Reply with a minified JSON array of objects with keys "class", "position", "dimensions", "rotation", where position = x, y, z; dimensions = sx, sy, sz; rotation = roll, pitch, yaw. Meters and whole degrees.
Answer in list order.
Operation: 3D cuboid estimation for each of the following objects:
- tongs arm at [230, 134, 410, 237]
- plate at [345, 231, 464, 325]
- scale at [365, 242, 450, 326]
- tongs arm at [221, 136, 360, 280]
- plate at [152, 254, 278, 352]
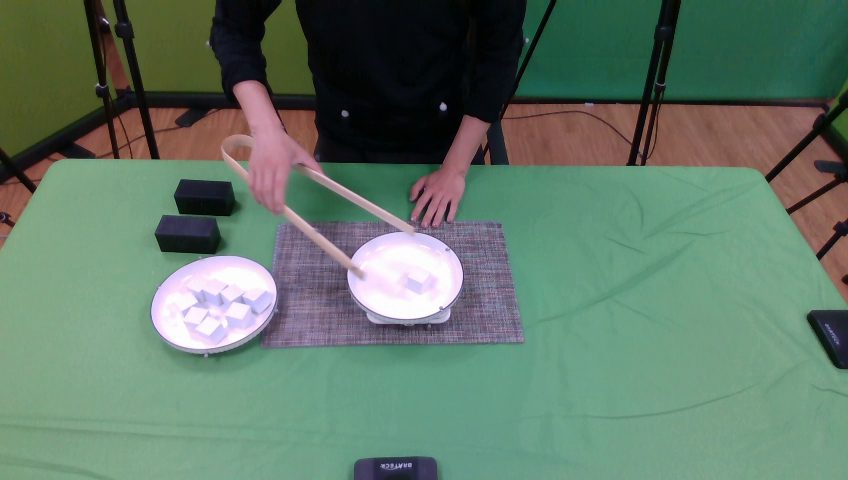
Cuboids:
[{"class":"tongs arm","position":[-0.189,-0.101,1.079],"dimensions":[0.386,0.028,0.028],"rotation":[29,57,15]},{"class":"plate","position":[-0.034,0.069,1.069],"dimensions":[0.209,0.038,0.208],"rotation":[2,46,-2]},{"class":"scale","position":[-0.032,0.071,1.113],"dimensions":[0.149,0.032,0.199],"rotation":[0,46,-4]},{"class":"tongs arm","position":[-0.232,-0.063,1.040],"dimensions":[0.383,0.026,0.050],"rotation":[37,56,21]},{"class":"plate","position":[-0.357,0.111,1.052],"dimensions":[0.208,0.039,0.206],"rotation":[2,46,-2]}]
